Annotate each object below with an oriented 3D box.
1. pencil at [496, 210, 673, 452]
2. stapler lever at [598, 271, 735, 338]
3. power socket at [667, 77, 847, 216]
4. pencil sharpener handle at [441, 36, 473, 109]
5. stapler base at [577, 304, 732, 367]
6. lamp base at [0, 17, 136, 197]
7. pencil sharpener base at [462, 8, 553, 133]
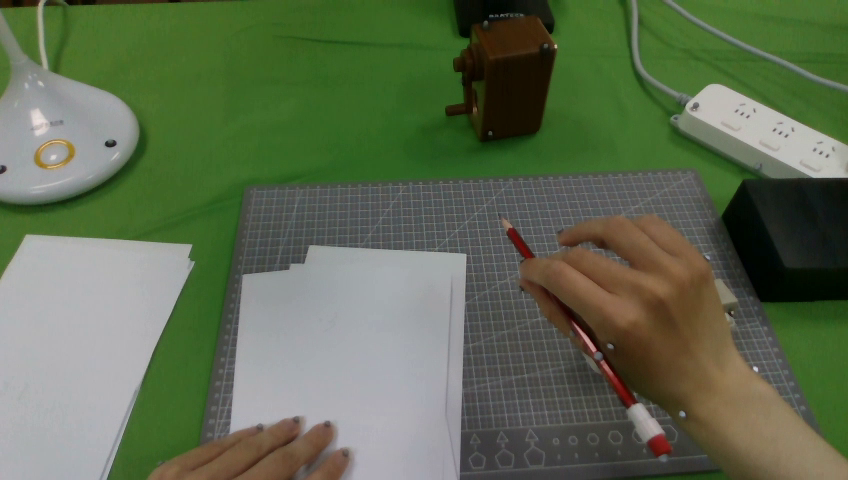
[{"bbox_3d":[0.088,0.043,0.371,0.012,0.012,0.192,-18,49,-14],"label":"pencil"},{"bbox_3d":[0.189,0.046,0.467,0.118,0.040,0.026,-16,54,-15],"label":"stapler lever"},{"bbox_3d":[0.362,-0.098,0.614,0.225,0.033,0.072,37,59,25],"label":"power socket"},{"bbox_3d":[0.030,-0.163,0.594,0.031,0.068,0.035,-12,31,-9],"label":"pencil sharpener handle"},{"bbox_3d":[0.187,0.063,0.486,0.131,0.024,0.041,-16,55,-15],"label":"stapler base"},{"bbox_3d":[-0.380,-0.159,0.552,0.161,0.182,0.177,-29,55,-22],"label":"lamp base"},{"bbox_3d":[0.078,-0.169,0.617,0.077,0.108,0.060,-12,53,-10],"label":"pencil sharpener base"}]
